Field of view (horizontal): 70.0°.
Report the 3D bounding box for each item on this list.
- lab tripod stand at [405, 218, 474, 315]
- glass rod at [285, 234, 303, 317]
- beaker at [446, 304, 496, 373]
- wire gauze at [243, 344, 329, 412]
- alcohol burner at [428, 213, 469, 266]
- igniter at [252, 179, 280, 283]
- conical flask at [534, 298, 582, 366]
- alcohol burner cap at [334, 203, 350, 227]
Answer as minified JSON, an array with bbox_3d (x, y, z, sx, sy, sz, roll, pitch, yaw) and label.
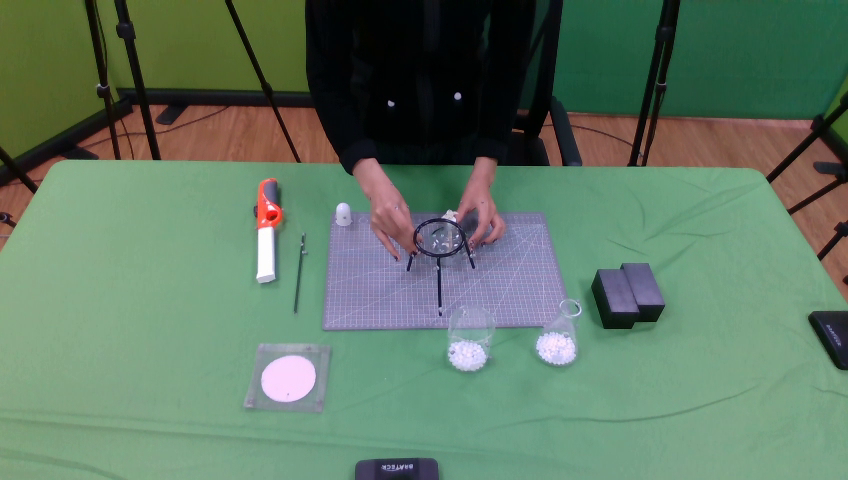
[{"bbox_3d":[0.029,0.035,1.072,0.148,0.132,0.147,-1,46,1],"label":"lab tripod stand"},{"bbox_3d":[-0.242,0.061,1.135,0.008,0.008,0.198,2,47,-2],"label":"glass rod"},{"bbox_3d":[0.072,0.166,0.992,0.084,0.101,0.073,-21,51,-22],"label":"beaker"},{"bbox_3d":[-0.221,0.219,0.980,0.125,0.011,0.120,2,45,0],"label":"wire gauze"},{"bbox_3d":[0.047,-0.007,1.143,0.078,0.120,0.077,1,47,-1],"label":"alcohol burner"},{"bbox_3d":[-0.312,-0.027,1.197,0.057,0.025,0.274,-12,47,-1],"label":"igniter"},{"bbox_3d":[0.229,0.149,1.005,0.075,0.122,0.075,2,46,-2],"label":"conical flask"},{"bbox_3d":[-0.166,-0.053,1.220,0.034,0.048,0.033,2,46,-2],"label":"alcohol burner cap"}]
